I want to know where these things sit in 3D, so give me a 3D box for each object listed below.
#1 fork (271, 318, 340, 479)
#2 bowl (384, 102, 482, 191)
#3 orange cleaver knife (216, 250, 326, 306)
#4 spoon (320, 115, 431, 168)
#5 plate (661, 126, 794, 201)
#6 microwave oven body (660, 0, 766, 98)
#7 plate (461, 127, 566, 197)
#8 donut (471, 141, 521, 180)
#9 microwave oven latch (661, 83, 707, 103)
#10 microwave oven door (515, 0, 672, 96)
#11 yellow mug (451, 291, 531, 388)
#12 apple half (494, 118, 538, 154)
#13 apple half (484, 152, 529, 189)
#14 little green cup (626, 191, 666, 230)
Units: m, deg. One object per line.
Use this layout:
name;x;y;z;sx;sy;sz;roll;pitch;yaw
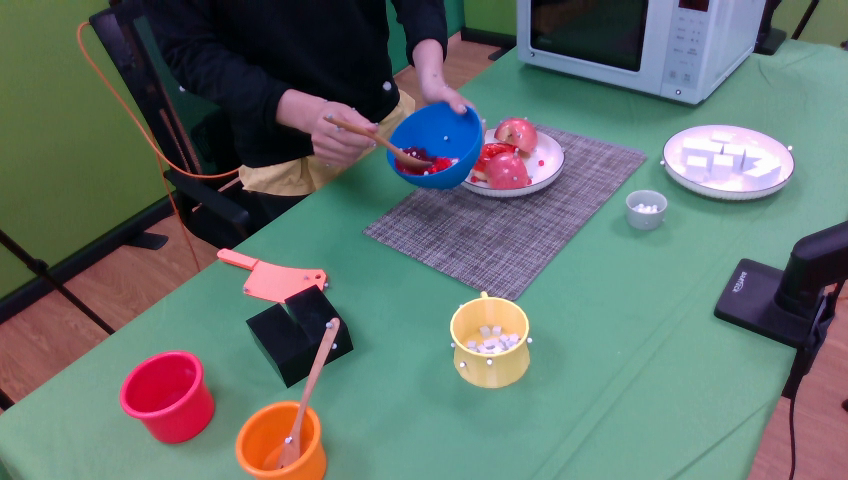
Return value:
fork;-0.132;0.186;0.676;0.028;0.019;0.207;18;90;28
bowl;0.024;-0.127;0.914;0.151;0.077;0.150;-12;51;16
orange cleaver knife;-0.248;0.058;0.945;0.210;0.012;0.077;13;49;20
spoon;-0.064;-0.135;0.837;0.041;0.195;0.021;11;81;48
plate;0.513;-0.128;1.035;0.207;0.039;0.206;-4;40;4
microwave oven body;0.473;-0.514;1.317;0.438;0.261;0.327;26;51;34
plate;0.150;-0.138;1.097;0.209;0.038;0.208;-4;40;4
donut;0.126;-0.145;1.091;0.099;0.048;0.098;-5;37;5
microwave oven latch;0.517;-0.296;1.205;0.078;0.029;0.030;26;52;34
microwave oven door;0.344;-0.455;1.259;0.353;0.245;0.039;26;51;33
yellow mug;0.085;0.120;0.786;0.100;0.064;0.130;-7;39;1
apple half;0.175;-0.196;1.113;0.080;0.053;0.075;29;12;34
apple half;0.144;-0.117;1.032;0.081;0.033;0.081;2;78;-10
little green cup;0.352;-0.046;0.963;0.061;0.039;0.061;-4;40;4
